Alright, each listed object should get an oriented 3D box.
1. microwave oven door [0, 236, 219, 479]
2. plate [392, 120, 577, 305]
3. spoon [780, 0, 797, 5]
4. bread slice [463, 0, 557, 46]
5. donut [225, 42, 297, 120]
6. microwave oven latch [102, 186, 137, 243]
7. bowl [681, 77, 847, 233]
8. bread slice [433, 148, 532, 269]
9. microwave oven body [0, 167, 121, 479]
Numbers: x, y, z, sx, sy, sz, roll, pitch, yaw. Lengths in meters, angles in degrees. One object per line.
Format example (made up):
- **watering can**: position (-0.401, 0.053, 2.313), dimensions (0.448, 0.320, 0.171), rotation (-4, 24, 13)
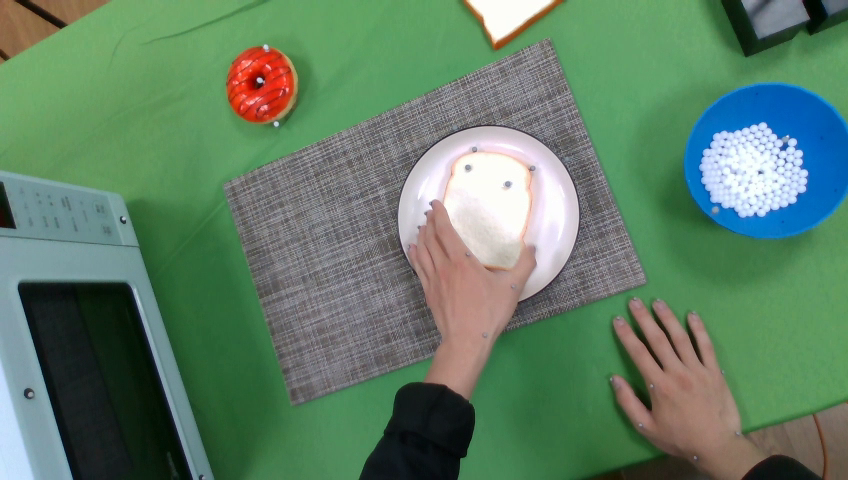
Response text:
- **microwave oven door**: position (-0.354, 0.167, 0.667), dimensions (0.039, 0.245, 0.354), rotation (-23, 82, 12)
- **plate**: position (0.068, -0.030, 0.690), dimensions (0.207, 0.039, 0.207), rotation (-1, 88, 14)
- **spoon**: position (0.340, -0.265, 0.556), dimensions (0.021, 0.195, 0.041), rotation (-20, 80, 27)
- **bread slice**: position (0.089, -0.309, 0.712), dimensions (0.105, 0.019, 0.131), rotation (-35, 81, 9)
- **donut**: position (-0.207, -0.201, 0.767), dimensions (0.099, 0.048, 0.099), rotation (-1, 88, 17)
- **microwave oven latch**: position (-0.406, -0.030, 0.793), dimensions (0.030, 0.029, 0.079), rotation (-22, 83, 11)
- **bowl**: position (0.333, -0.078, 0.610), dimensions (0.151, 0.077, 0.151), rotation (-1, 87, 14)
- **bread slice**: position (0.068, -0.037, 0.691), dimensions (0.106, 0.018, 0.134), rotation (5, 88, 14)
- **microwave oven body**: position (-0.500, 0.184, 0.708), dimensions (0.326, 0.261, 0.440), rotation (-23, 83, 11)
